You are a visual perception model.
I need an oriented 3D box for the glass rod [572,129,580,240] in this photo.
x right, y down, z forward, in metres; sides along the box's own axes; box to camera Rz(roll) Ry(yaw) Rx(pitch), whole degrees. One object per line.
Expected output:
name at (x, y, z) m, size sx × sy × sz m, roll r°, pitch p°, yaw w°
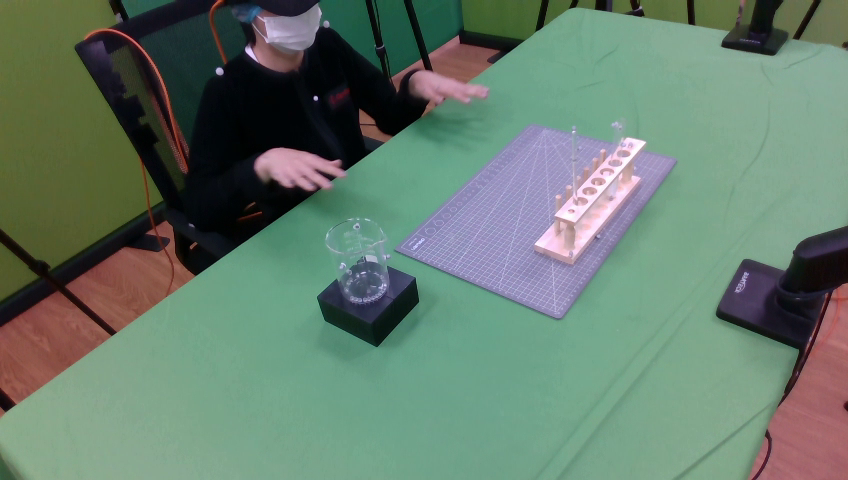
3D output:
glass rod at (0.220, -0.074, 0.871) m, size 0.008 × 0.201 × 0.008 m, roll -8°, pitch 42°, yaw 8°

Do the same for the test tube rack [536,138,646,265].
test tube rack at (0.268, -0.071, 0.964) m, size 0.066 × 0.085 × 0.243 m, roll 23°, pitch 49°, yaw 32°

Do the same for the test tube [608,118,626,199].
test tube at (0.301, -0.124, 0.945) m, size 0.017 × 0.151 × 0.017 m, roll -5°, pitch 44°, yaw 6°

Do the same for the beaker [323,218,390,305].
beaker at (-0.084, 0.031, 0.813) m, size 0.084 × 0.101 × 0.073 m, roll -1°, pitch 41°, yaw 8°
